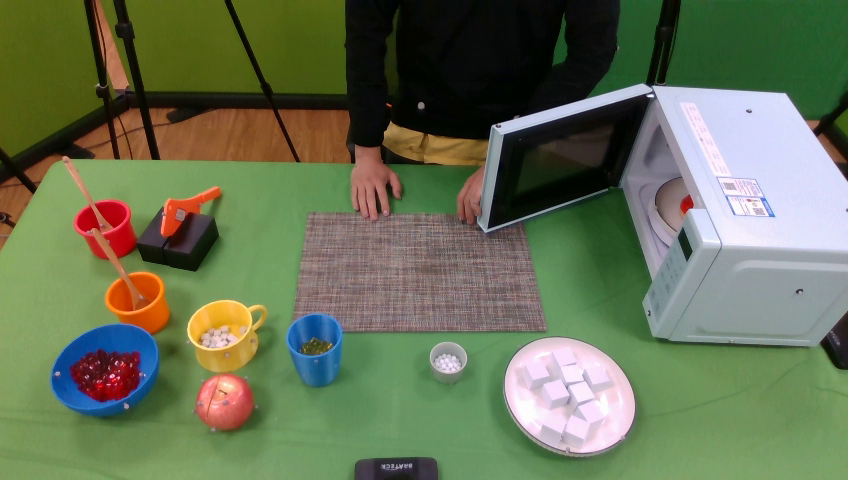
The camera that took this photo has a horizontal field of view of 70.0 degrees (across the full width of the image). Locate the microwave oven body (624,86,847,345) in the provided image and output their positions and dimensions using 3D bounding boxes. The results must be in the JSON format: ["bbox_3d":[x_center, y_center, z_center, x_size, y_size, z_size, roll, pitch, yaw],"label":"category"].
[{"bbox_3d":[0.567,-0.053,1.118,0.326,0.261,0.439,2,45,-1],"label":"microwave oven body"}]

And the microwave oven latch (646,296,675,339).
[{"bbox_3d":[0.412,0.134,1.061,0.030,0.029,0.078,4,45,1],"label":"microwave oven latch"}]

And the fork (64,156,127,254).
[{"bbox_3d":[-0.614,-0.064,1.130,0.028,0.018,0.207,-29,97,-17],"label":"fork"}]

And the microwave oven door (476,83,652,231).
[{"bbox_3d":[0.276,-0.164,1.199,0.356,0.245,0.039,-19,50,-21],"label":"microwave oven door"}]

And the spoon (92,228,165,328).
[{"bbox_3d":[-0.496,0.063,1.014,0.041,0.194,0.021,-33,12,-31],"label":"spoon"}]

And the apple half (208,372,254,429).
[{"bbox_3d":[-0.282,0.244,0.908,0.053,0.075,0.080,7,43,-1],"label":"apple half"}]

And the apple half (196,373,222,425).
[{"bbox_3d":[-0.322,0.240,0.907,0.033,0.081,0.081,7,46,0],"label":"apple half"}]

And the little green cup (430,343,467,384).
[{"bbox_3d":[0.039,0.203,0.994,0.061,0.039,0.061,2,46,-2],"label":"little green cup"}]

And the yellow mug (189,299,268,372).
[{"bbox_3d":[-0.316,0.148,1.002,0.131,0.064,0.099,-32,56,-31],"label":"yellow mug"}]

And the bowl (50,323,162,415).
[{"bbox_3d":[-0.472,0.209,0.924,0.151,0.077,0.150,3,45,-2],"label":"bowl"}]

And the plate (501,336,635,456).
[{"bbox_3d":[0.225,0.248,0.963,0.208,0.039,0.206,2,46,-2],"label":"plate"}]

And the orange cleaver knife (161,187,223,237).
[{"bbox_3d":[-0.448,-0.058,1.180,0.012,0.077,0.211,13,17,6],"label":"orange cleaver knife"}]

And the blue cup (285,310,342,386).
[{"bbox_3d":[-0.170,0.179,0.958,0.093,0.101,0.092,2,44,-1],"label":"blue cup"}]
